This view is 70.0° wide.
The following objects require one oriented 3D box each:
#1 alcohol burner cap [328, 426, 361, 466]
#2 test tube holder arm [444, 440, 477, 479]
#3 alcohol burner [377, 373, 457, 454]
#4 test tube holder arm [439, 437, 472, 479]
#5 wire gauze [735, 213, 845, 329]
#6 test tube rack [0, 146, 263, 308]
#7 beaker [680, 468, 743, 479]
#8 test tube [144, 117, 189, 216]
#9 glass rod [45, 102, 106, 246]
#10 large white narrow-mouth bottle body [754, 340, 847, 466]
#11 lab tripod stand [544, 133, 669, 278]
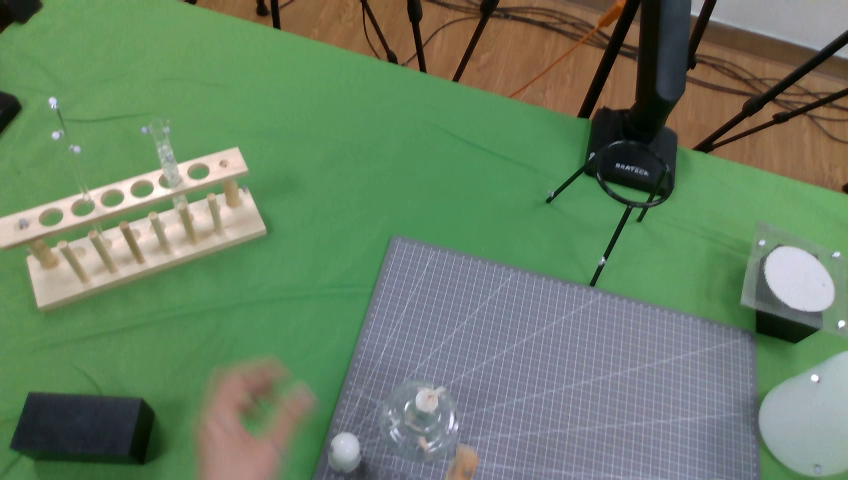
[{"bbox_3d":[-0.077,0.197,0.584,0.034,0.048,0.033,3,59,-5],"label":"alcohol burner cap"},{"bbox_3d":[0.017,0.194,0.455,0.015,0.010,0.088,22,89,-16],"label":"test tube holder arm"},{"bbox_3d":[-0.004,0.159,0.574,0.078,0.120,0.077,5,59,-8],"label":"alcohol burner"},{"bbox_3d":[-0.001,0.236,0.459,0.015,0.013,0.178,22,89,-15],"label":"test tube holder arm"},{"bbox_3d":[0.434,0.035,0.715,0.121,0.011,0.124,22,59,5],"label":"wire gauze"},{"bbox_3d":[-0.306,-0.016,0.651,0.243,0.086,0.066,-21,65,-19],"label":"test tube rack"},{"bbox_3d":[0.248,0.258,0.561,0.084,0.101,0.073,12,59,0],"label":"beaker"},{"bbox_3d":[-0.265,-0.070,0.630,0.017,0.151,0.017,5,57,-7],"label":"test tube"},{"bbox_3d":[-0.337,-0.054,0.592,0.008,0.201,0.008,6,51,-8],"label":"glass rod"},{"bbox_3d":[0.421,0.153,0.594,0.102,0.196,0.101,3,59,-5],"label":"large white narrow-mouth bottle body"},{"bbox_3d":[0.219,-0.046,0.716,0.149,0.132,0.147,4,61,-7],"label":"lab tripod stand"}]
